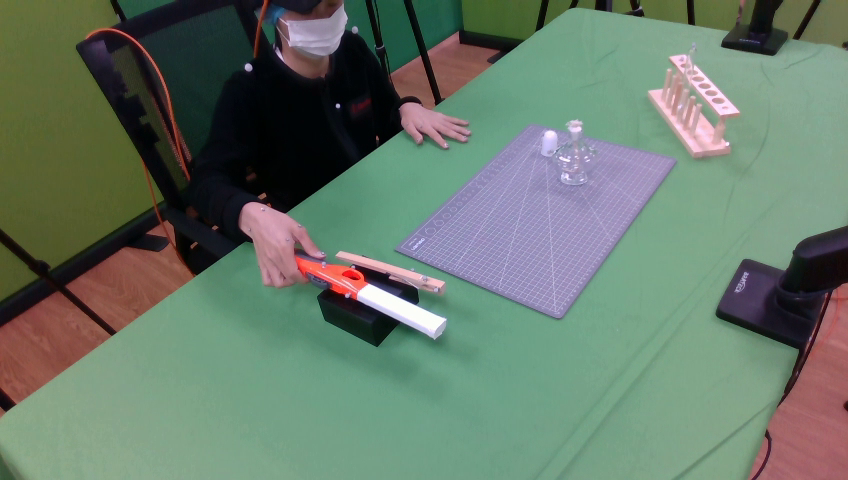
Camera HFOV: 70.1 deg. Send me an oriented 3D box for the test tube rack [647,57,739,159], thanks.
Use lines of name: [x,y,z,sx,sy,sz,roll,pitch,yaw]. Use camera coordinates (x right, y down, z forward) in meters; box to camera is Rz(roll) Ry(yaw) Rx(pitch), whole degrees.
test tube rack: [0.504,-0.257,1.153,0.067,0.085,0.241,-8,40,1]

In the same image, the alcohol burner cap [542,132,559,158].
alcohol burner cap: [0.237,-0.180,1.134,0.034,0.048,0.033,-5,41,5]

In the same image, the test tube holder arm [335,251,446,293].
test tube holder arm: [-0.050,0.043,0.853,0.177,0.013,0.015,17,39,24]

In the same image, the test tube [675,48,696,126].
test tube: [0.481,-0.279,1.112,0.017,0.151,0.017,-5,40,5]

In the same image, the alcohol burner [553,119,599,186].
alcohol burner: [0.261,-0.153,1.042,0.078,0.119,0.077,-6,40,6]

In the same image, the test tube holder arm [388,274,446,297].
test tube holder arm: [-0.011,0.060,0.838,0.087,0.010,0.015,18,39,24]

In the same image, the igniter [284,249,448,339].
igniter: [-0.090,0.068,0.829,0.274,0.025,0.057,22,36,27]
